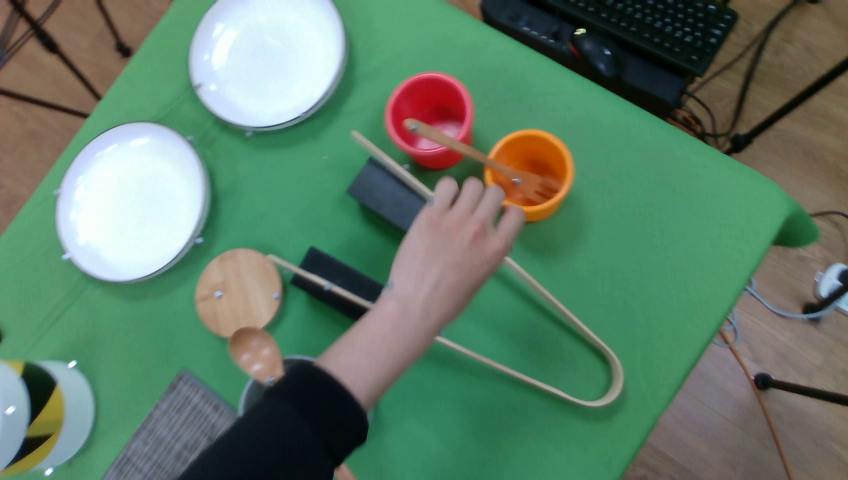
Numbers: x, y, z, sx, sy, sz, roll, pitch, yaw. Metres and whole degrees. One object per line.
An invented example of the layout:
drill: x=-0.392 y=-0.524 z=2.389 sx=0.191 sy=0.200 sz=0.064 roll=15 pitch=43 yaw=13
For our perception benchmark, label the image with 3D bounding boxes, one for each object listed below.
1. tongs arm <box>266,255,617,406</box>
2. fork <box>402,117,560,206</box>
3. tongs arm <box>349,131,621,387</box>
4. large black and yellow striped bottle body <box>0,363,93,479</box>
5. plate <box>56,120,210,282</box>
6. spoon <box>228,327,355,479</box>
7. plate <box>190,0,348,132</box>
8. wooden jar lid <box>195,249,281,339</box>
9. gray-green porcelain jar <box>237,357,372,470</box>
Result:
tongs arm: x=0.017 y=0.086 z=0.635 sx=0.384 sy=0.026 sz=0.050 roll=27 pitch=81 yaw=2
fork: x=0.065 y=-0.082 z=0.637 sx=0.209 sy=0.018 sz=0.028 roll=22 pitch=91 yaw=-30
tongs arm: x=0.063 y=0.014 z=0.644 sx=0.387 sy=0.028 sz=0.028 roll=42 pitch=79 yaw=4
large black and yellow striped bottle body: x=-0.481 y=0.199 z=0.664 sx=0.130 sy=0.185 sz=0.130 roll=-2 pitch=78 yaw=10
plate: x=-0.363 y=-0.048 z=0.767 sx=0.207 sy=0.039 sz=0.206 roll=-2 pitch=79 yaw=10
spoon: x=-0.119 y=0.161 z=0.563 sx=0.041 sy=0.022 sz=0.193 roll=-38 pitch=78 yaw=-2
plate: x=-0.194 y=-0.234 z=0.772 sx=0.209 sy=0.038 sz=0.208 roll=-2 pitch=79 yaw=10
wooden jar lid: x=-0.221 y=0.066 z=0.728 sx=0.108 sy=0.021 sz=0.108 roll=-2 pitch=80 yaw=9
gray-green porcelain jar: x=-0.116 y=0.176 z=0.632 sx=0.105 sy=0.127 sz=0.105 roll=-2 pitch=78 yaw=10
